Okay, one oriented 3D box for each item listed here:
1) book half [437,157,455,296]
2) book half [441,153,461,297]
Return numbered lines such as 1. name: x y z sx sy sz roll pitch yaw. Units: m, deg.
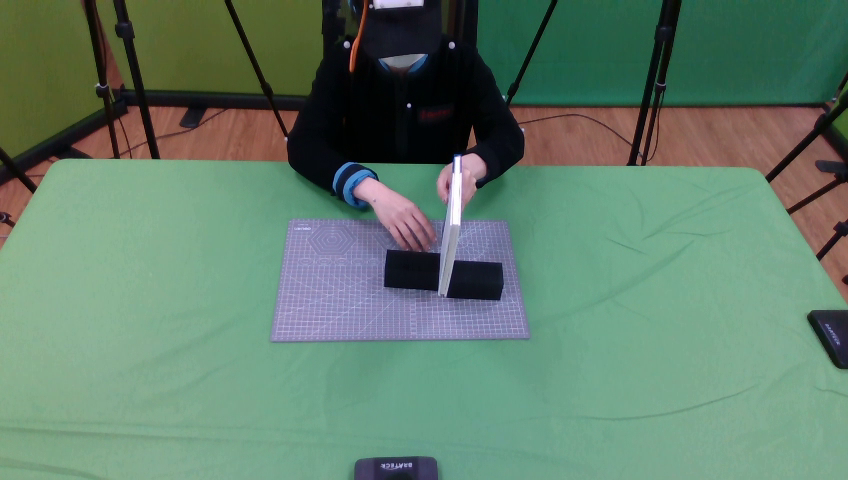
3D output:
1. book half: 0.037 -0.018 1.015 0.007 0.211 0.142 6 54 -1
2. book half: 0.044 -0.020 1.017 0.016 0.211 0.147 5 54 -2
